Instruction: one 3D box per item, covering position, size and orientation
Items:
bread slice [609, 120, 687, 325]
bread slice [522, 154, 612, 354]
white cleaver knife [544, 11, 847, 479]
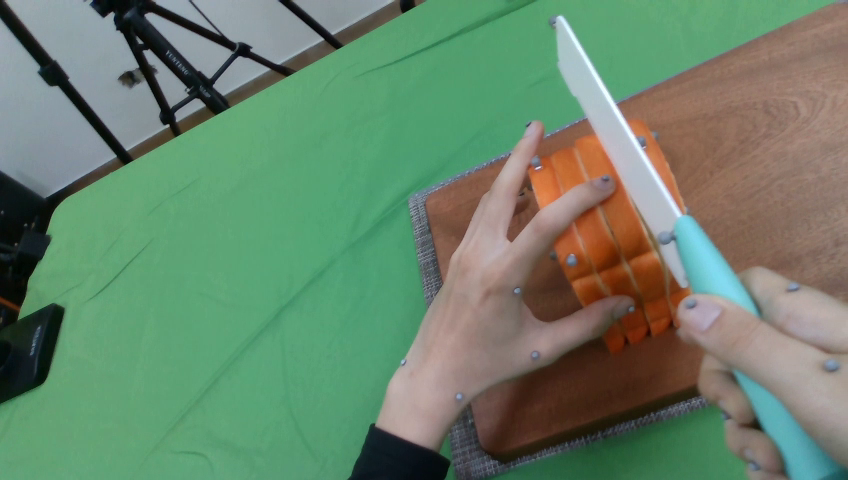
[{"bbox_3d":[0.149,-0.015,0.405,0.019,0.133,0.104,-20,52,10],"label":"bread slice"},{"bbox_3d":[0.099,0.003,0.422,0.018,0.136,0.106,-21,48,12],"label":"bread slice"},{"bbox_3d":[0.121,-0.009,0.309,0.021,0.066,0.283,-23,62,8],"label":"white cleaver knife"}]
